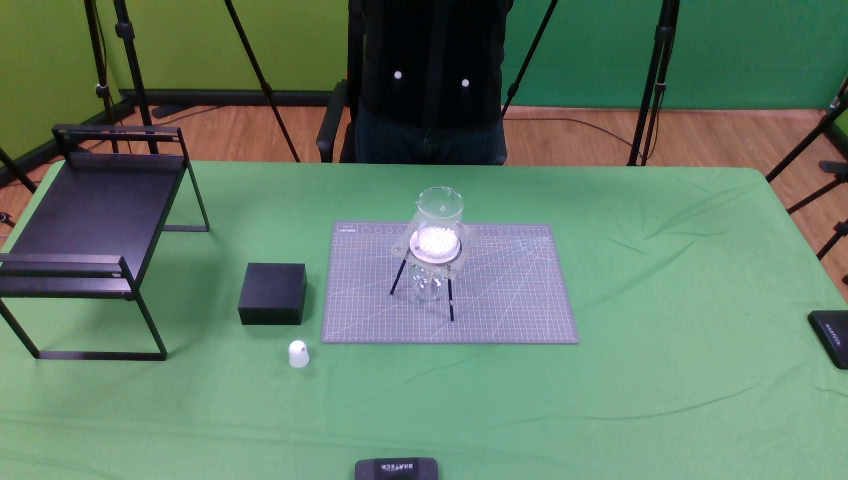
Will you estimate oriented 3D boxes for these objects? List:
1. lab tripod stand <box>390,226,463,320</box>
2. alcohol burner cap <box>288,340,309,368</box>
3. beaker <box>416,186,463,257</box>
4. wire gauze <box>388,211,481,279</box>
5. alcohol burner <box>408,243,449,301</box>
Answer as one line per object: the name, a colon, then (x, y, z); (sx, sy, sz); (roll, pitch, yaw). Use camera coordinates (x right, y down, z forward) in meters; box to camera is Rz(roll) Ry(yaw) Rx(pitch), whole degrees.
lab tripod stand: (0.014, 0.053, 1.063); (0.148, 0.132, 0.147); (1, 48, -1)
alcohol burner cap: (-0.207, 0.183, 0.991); (0.034, 0.048, 0.033); (3, 47, -2)
beaker: (0.024, -0.029, 0.984); (0.074, 0.101, 0.083); (19, 49, 14)
wire gauze: (0.018, 0.003, 1.020); (0.125, 0.011, 0.121); (20, 47, 18)
alcohol burner: (0.010, 0.052, 1.078); (0.078, 0.120, 0.077); (1, 45, -1)
